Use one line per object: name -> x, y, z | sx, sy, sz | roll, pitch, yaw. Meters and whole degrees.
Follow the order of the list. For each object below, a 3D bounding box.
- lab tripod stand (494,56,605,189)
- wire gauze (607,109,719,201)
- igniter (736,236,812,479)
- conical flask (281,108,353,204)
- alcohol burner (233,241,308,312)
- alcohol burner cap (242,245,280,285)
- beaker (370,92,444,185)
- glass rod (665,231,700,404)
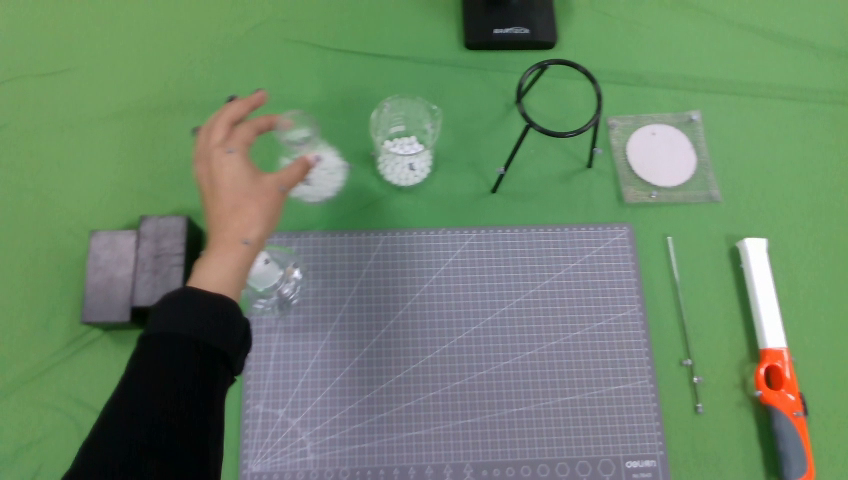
lab tripod stand -> 0.138, -0.128, 0.683 | 0.148, 0.132, 0.147 | 1, 75, -2
wire gauze -> 0.296, -0.105, 0.749 | 0.125, 0.011, 0.120 | -2, 74, -5
igniter -> 0.388, 0.129, 0.675 | 0.057, 0.025, 0.275 | 2, 73, -13
conical flask -> -0.111, -0.087, 0.595 | 0.075, 0.122, 0.075 | 1, 77, -3
alcohol burner -> -0.163, 0.034, 0.628 | 0.078, 0.119, 0.077 | 0, 74, 0
alcohol burner cap -> -0.162, 0.022, 0.594 | 0.034, 0.048, 0.033 | 1, 66, -3
beaker -> -0.019, -0.112, 0.688 | 0.084, 0.101, 0.073 | -26, 76, -10
glass rod -> 0.295, 0.085, 0.693 | 0.008, 0.008, 0.198 | -2, 74, -4
